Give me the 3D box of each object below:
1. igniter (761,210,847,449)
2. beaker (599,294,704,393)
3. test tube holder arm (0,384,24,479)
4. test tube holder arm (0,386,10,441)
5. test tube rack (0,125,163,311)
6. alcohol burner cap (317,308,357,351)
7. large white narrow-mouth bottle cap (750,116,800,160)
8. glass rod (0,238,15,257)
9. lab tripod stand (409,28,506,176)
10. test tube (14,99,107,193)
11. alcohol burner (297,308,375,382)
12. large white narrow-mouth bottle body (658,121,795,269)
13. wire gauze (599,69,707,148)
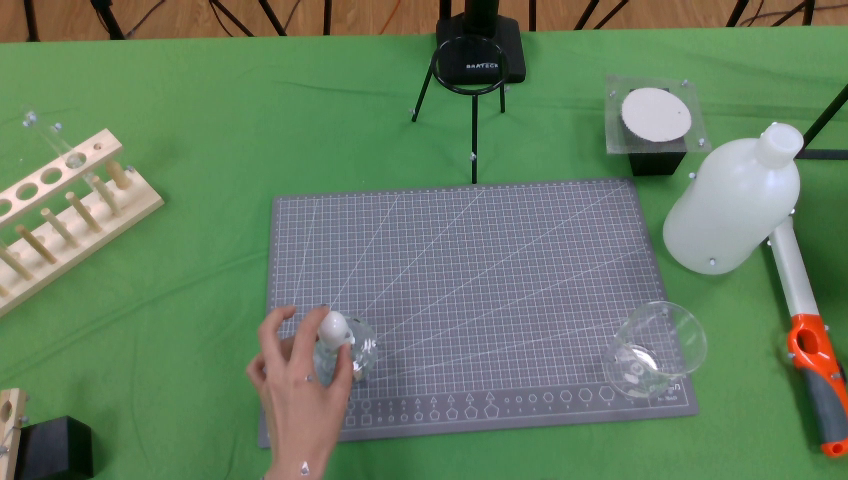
[{"bbox_3d":[0.414,0.087,0.664,0.057,0.025,0.274,6,61,-9],"label":"igniter"},{"bbox_3d":[0.218,0.108,0.605,0.084,0.101,0.073,2,61,1],"label":"beaker"},{"bbox_3d":[-0.370,0.216,0.531,0.013,0.015,0.177,-11,66,1],"label":"test tube holder arm"},{"bbox_3d":[-0.382,0.177,0.549,0.010,0.015,0.087,-10,66,2],"label":"test tube holder arm"},{"bbox_3d":[-0.425,-0.016,0.669,0.242,0.086,0.066,-41,70,-20],"label":"test tube rack"},{"bbox_3d":[-0.081,0.080,0.556,0.034,0.048,0.033,-1,64,3],"label":"alcohol burner cap"},{"bbox_3d":[0.328,-0.096,0.567,0.038,0.024,0.037,1,61,-1],"label":"large white narrow-mouth bottle cap"},{"bbox_3d":[-0.458,-0.039,0.606,0.008,0.201,0.008,2,53,-3],"label":"glass rod"},{"bbox_3d":[0.050,-0.173,0.736,0.148,0.132,0.147,1,62,-2],"label":"lab tripod stand"},{"bbox_3d":[-0.389,-0.096,0.657,0.017,0.151,0.017,-2,61,4],"label":"test tube"},{"bbox_3d":[-0.087,0.097,0.596,0.078,0.120,0.077,2,60,-3],"label":"alcohol burner"},{"bbox_3d":[0.327,-0.053,0.642,0.102,0.196,0.101,0,61,0],"label":"large white narrow-mouth bottle body"},{"bbox_3d":[0.279,-0.163,0.751,0.121,0.011,0.124,3,61,1],"label":"wire gauze"}]
